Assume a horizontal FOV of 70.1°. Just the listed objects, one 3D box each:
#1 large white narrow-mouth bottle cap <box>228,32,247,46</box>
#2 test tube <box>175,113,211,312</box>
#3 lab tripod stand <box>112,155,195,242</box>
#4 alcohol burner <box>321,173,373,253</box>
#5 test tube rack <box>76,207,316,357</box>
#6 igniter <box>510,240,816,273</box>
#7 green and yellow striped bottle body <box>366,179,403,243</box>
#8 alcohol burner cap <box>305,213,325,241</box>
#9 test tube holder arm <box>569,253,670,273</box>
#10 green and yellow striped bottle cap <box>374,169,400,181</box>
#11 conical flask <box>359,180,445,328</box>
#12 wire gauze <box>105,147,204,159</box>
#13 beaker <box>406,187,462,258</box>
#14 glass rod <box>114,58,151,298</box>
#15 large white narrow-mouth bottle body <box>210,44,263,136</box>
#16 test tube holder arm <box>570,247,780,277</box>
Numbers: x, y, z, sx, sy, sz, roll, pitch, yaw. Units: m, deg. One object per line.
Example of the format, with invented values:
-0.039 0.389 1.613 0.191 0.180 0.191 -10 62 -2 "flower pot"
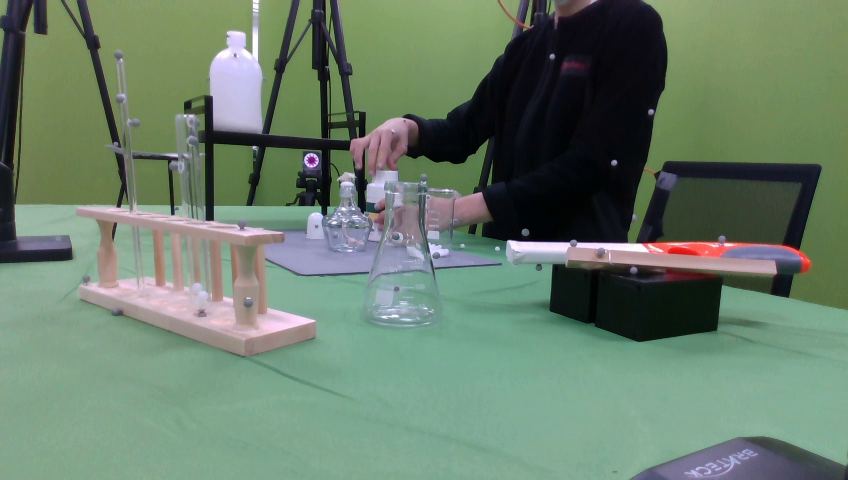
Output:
-0.364 -0.391 1.180 0.038 0.024 0.037 3 8 0 "large white narrow-mouth bottle cap"
-0.174 -0.020 0.458 0.017 0.150 0.017 -3 5 1 "test tube"
-0.405 -0.064 0.931 0.148 0.131 0.148 1 6 0 "lab tripod stand"
-0.115 -0.041 0.905 0.078 0.119 0.078 1 6 0 "alcohol burner"
-0.196 0.023 0.499 0.241 0.085 0.067 8 9 36 "test tube rack"
0.220 0.015 0.565 0.277 0.025 0.057 2 16 0 "igniter"
-0.068 -0.058 1.036 0.063 0.119 0.063 2 7 0 "green and yellow striped bottle body"
-0.185 -0.023 1.027 0.034 0.048 0.034 2 6 0 "alcohol burner cap"
0.172 0.019 0.532 0.088 0.015 0.010 3 -23 3 "test tube holder arm"
-0.063 -0.110 1.029 0.045 0.020 0.045 1 7 0 "green and yellow striped bottle cap"
-0.017 0.010 0.522 0.075 0.122 0.075 2 7 0 "conical flask"
-0.407 -0.131 0.929 0.125 0.011 0.121 2 6 -11 "wire gauze"
0.013 -0.026 0.892 0.084 0.100 0.074 3 8 -2 "beaker"
-0.236 -0.044 0.492 0.008 0.199 0.008 0 15 0 "glass rod"
-0.369 -0.305 1.194 0.102 0.194 0.102 3 8 0 "large white narrow-mouth bottle body"
0.217 0.019 0.525 0.178 0.015 0.013 3 -23 3 "test tube holder arm"
